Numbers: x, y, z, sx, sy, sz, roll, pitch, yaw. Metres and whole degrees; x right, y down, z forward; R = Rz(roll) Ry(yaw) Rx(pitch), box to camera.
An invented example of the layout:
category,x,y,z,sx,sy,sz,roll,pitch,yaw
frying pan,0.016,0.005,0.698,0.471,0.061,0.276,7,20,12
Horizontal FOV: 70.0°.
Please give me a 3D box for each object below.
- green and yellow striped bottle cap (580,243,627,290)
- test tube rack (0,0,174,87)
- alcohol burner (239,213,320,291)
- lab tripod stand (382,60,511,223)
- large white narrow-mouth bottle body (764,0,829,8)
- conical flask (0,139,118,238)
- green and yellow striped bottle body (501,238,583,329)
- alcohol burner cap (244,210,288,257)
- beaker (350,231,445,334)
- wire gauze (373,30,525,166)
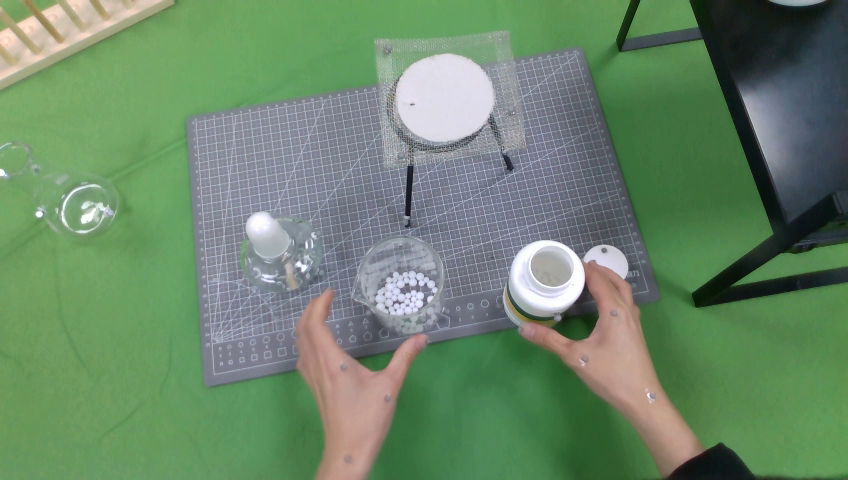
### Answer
category,x,y,z,sx,sy,sz,roll,pitch,yaw
green and yellow striped bottle cap,0.177,0.025,0.598,0.045,0.020,0.045,-1,71,4
test tube rack,-0.423,-0.266,0.683,0.242,0.086,0.066,-30,73,-8
alcohol burner,-0.139,0.005,0.566,0.078,0.120,0.077,0,70,1
lab tripod stand,0.016,-0.099,0.583,0.148,0.132,0.147,0,70,1
large white narrow-mouth bottle body,0.295,-0.260,0.408,0.102,0.196,0.101,-1,69,2
conical flask,-0.365,-0.054,0.592,0.075,0.122,0.075,-1,71,3
green and yellow striped bottle body,0.104,0.039,0.541,0.063,0.120,0.063,-1,72,3
alcohol burner cap,-0.141,-0.008,0.532,0.034,0.048,0.033,0,64,0
beaker,-0.021,0.046,0.555,0.084,0.101,0.073,-22,71,-4
wire gauze,0.020,-0.126,0.521,0.121,0.011,0.124,-5,72,-1
